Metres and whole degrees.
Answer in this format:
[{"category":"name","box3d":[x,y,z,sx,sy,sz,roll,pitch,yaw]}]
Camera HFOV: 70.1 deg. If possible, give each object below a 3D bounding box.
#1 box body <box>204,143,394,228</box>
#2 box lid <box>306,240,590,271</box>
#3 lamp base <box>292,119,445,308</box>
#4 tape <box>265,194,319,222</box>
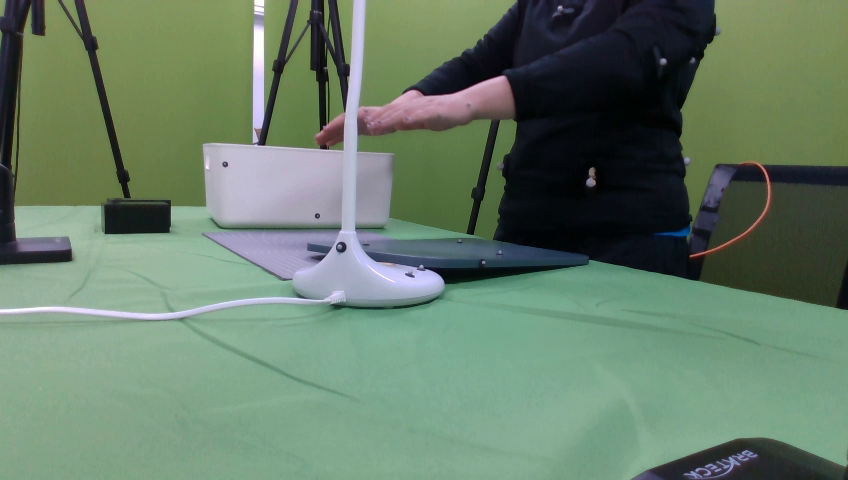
[{"category":"box body","box3d":[-0.271,-0.117,1.291,0.366,0.160,0.253,-1,8,-25]},{"category":"box lid","box3d":[0.042,0.019,0.879,0.262,0.015,0.374,7,5,44]},{"category":"lamp base","box3d":[-0.056,-0.030,0.616,0.160,0.180,0.179,4,10,8]},{"category":"tape","box3d":[-0.284,-0.069,1.298,0.117,0.052,0.117,3,6,0]}]
